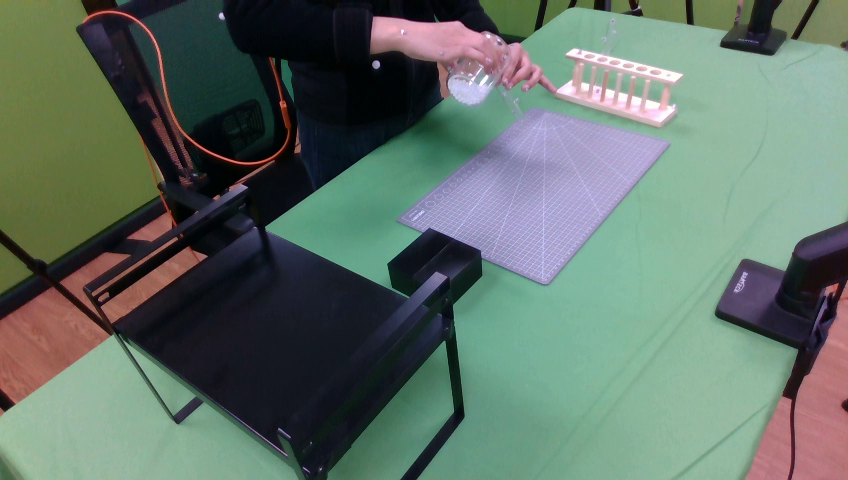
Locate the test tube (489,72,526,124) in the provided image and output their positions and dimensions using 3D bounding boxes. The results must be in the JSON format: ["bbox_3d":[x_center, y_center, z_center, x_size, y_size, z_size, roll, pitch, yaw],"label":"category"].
[{"bbox_3d":[0.151,-0.249,1.075,0.017,0.152,0.017,-12,63,25],"label":"test tube"}]

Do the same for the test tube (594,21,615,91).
[{"bbox_3d":[0.367,-0.372,1.232,0.017,0.151,0.017,0,43,0],"label":"test tube"}]

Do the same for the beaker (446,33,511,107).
[{"bbox_3d":[0.086,-0.267,0.965,0.073,0.084,0.100,16,57,27],"label":"beaker"}]

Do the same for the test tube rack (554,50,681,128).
[{"bbox_3d":[0.388,-0.311,1.234,0.240,0.085,0.067,28,52,34],"label":"test tube rack"}]
